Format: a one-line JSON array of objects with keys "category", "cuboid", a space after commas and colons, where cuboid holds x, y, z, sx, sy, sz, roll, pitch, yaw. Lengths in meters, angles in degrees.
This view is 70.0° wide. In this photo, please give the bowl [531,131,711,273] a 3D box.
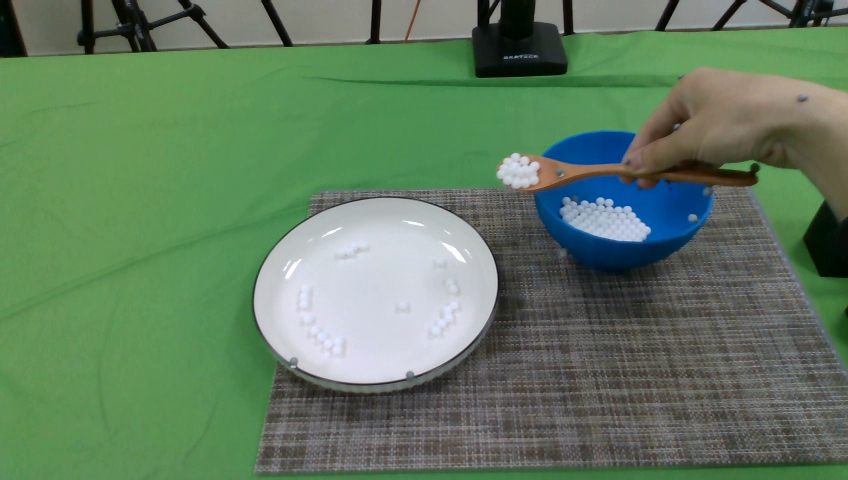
[{"category": "bowl", "cuboid": [0.169, -0.023, 0.549, 0.151, 0.077, 0.150, -2, 46, 2]}]

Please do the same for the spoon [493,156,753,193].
[{"category": "spoon", "cuboid": [0.138, -0.048, 0.453, 0.192, 0.022, 0.041, 6, 49, 39]}]

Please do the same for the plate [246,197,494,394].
[{"category": "plate", "cuboid": [-0.044, 0.045, 0.523, 0.207, 0.039, 0.205, -1, 46, 2]}]
